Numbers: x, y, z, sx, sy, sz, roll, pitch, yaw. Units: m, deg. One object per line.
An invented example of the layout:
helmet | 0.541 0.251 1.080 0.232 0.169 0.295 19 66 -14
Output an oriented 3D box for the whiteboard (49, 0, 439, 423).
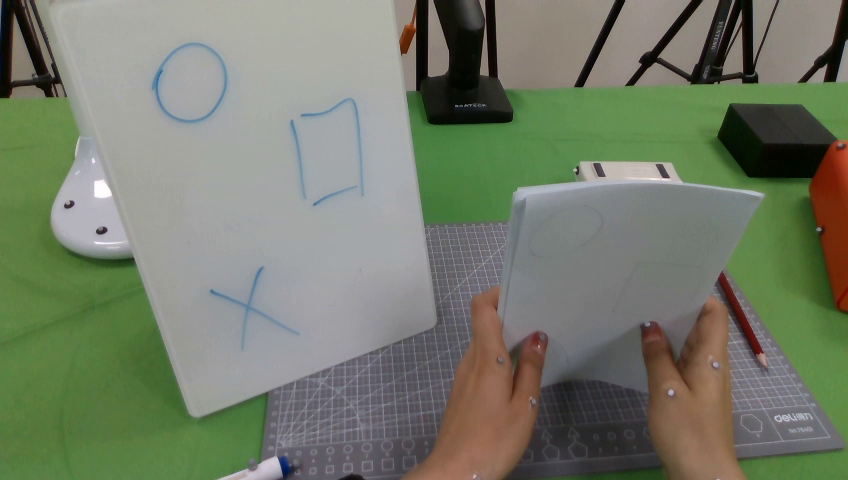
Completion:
whiteboard | -0.130 -0.049 0.503 0.218 0.307 0.142 -17 25 -21

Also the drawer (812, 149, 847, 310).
drawer | 0.522 0.001 0.612 0.194 0.074 0.210 13 41 13

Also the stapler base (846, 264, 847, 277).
stapler base | 0.481 0.047 0.584 0.130 0.024 0.041 18 50 5

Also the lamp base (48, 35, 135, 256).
lamp base | -0.317 -0.101 0.604 0.178 0.182 0.160 24 45 27

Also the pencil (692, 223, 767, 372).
pencil | 0.297 0.049 0.593 0.012 0.012 0.192 2 43 -1

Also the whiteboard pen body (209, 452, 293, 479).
whiteboard pen body | -0.159 0.176 0.411 0.141 0.017 0.017 -15 44 -22

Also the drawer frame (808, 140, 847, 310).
drawer frame | 0.522 -0.002 0.614 0.201 0.083 0.212 13 41 12

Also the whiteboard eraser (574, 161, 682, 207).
whiteboard eraser | 0.236 -0.065 0.704 0.113 0.042 0.055 2 41 -2
